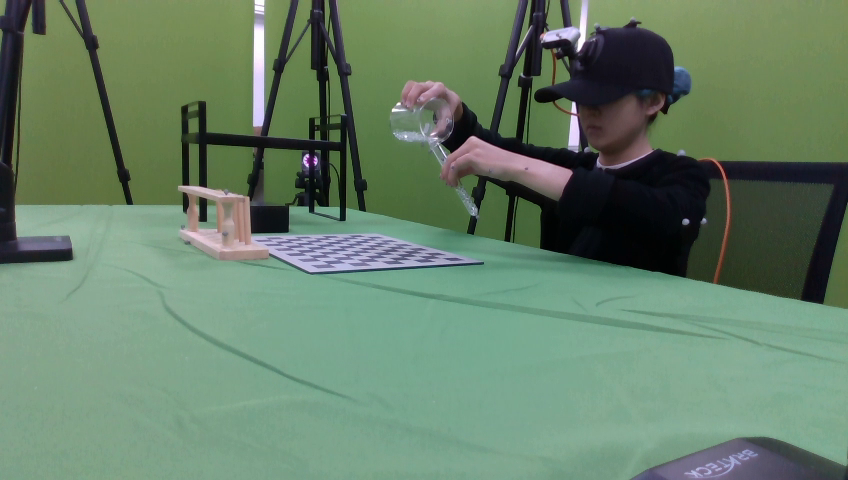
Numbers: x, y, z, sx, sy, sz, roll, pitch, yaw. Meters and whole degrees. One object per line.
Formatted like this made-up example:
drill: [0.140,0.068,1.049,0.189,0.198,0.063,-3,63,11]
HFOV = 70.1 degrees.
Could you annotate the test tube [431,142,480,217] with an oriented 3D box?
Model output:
test tube: [0.050,-0.099,0.975,0.017,0.149,0.017,-24,-24,-11]

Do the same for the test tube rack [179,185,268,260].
test tube rack: [-0.303,-0.031,0.898,0.067,0.085,0.241,-2,9,-33]

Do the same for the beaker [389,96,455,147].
beaker: [-0.007,-0.201,1.036,0.074,0.084,0.100,1,7,-37]
